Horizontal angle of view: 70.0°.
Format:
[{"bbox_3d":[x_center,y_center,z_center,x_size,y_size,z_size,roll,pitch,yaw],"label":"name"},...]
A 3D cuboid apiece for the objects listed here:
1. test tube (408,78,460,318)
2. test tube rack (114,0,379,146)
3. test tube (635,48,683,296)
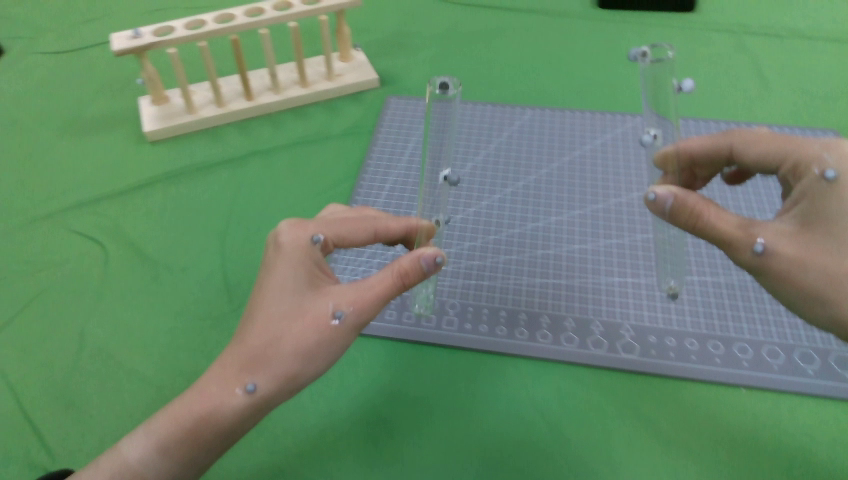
[{"bbox_3d":[0.003,-0.012,0.313,0.017,0.152,0.017,3,41,-2],"label":"test tube"},{"bbox_3d":[-0.174,-0.179,0.621,0.243,0.086,0.066,-17,49,-14],"label":"test tube rack"},{"bbox_3d":[0.120,-0.025,0.306,0.017,0.152,0.017,-13,39,11],"label":"test tube"}]
